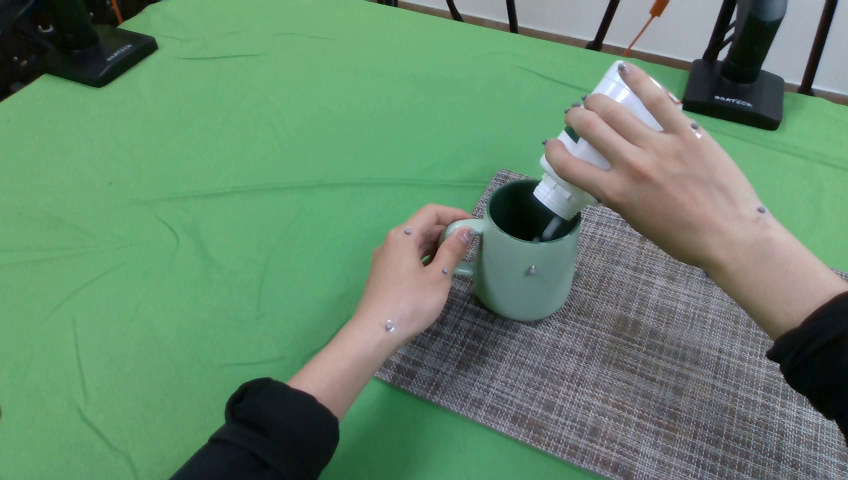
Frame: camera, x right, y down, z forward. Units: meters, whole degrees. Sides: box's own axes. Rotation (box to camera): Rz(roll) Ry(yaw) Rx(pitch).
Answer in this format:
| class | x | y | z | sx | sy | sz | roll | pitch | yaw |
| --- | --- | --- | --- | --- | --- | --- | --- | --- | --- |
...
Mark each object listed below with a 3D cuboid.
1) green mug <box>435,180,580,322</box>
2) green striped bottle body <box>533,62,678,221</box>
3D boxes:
| class | x | y | z | sx | sy | sz | roll | pitch | yaw |
| --- | --- | --- | --- | --- | --- | --- | --- | --- | --- |
| green mug | 0.073 | 0.012 | 0.537 | 0.125 | 0.106 | 0.091 | -1 | 47 | -1 |
| green striped bottle body | 0.137 | -0.073 | 0.479 | 0.063 | 0.119 | 0.063 | 32 | 17 | -11 |
